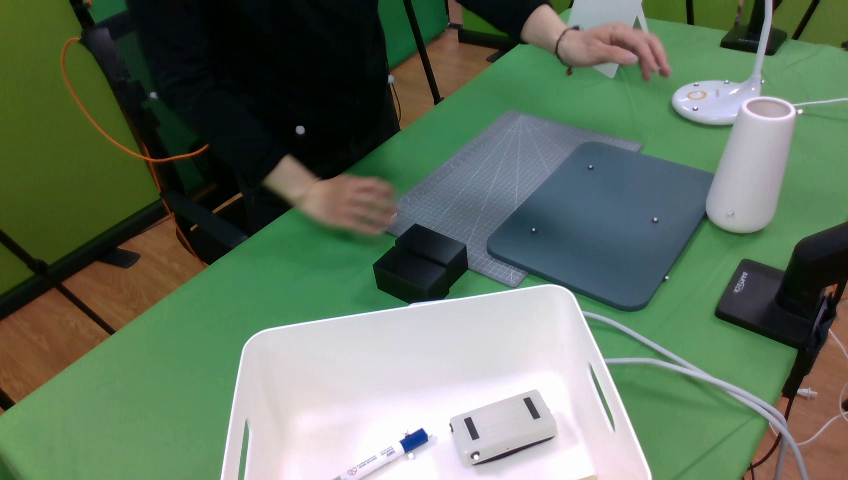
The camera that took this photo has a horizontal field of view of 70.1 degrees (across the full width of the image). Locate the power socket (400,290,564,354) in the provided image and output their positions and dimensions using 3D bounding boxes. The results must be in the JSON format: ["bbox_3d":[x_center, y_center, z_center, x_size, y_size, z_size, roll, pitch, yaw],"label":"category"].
[{"bbox_3d":[0.079,0.111,0.823,0.227,0.033,0.072,-6,41,1],"label":"power socket"}]

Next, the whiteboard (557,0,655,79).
[{"bbox_3d":[0.462,-0.542,1.367,0.145,0.306,0.215,-3,36,-25],"label":"whiteboard"}]

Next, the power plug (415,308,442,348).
[{"bbox_3d":[0.004,0.121,0.786,0.035,0.053,0.072,1,45,8],"label":"power plug"}]

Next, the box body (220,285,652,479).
[{"bbox_3d":[0.005,0.211,0.616,0.364,0.161,0.252,-9,40,-2],"label":"box body"}]

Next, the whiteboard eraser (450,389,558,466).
[{"bbox_3d":[0.090,0.213,0.682,0.113,0.042,0.055,-17,39,-8],"label":"whiteboard eraser"}]

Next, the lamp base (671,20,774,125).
[{"bbox_3d":[0.581,-0.332,1.154,0.179,0.181,0.160,2,41,7],"label":"lamp base"}]

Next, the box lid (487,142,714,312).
[{"bbox_3d":[0.298,-0.041,0.986,0.261,0.015,0.372,23,49,30],"label":"box lid"}]

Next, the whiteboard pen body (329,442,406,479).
[{"bbox_3d":[-0.064,0.254,0.677,0.141,0.017,0.017,-23,43,-22],"label":"whiteboard pen body"}]

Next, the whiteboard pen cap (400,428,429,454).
[{"bbox_3d":[-0.012,0.232,0.695,0.033,0.018,0.018,-24,43,-21],"label":"whiteboard pen cap"}]

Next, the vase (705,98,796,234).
[{"bbox_3d":[0.480,-0.104,0.889,0.098,0.201,0.097,-4,42,4],"label":"vase"}]
